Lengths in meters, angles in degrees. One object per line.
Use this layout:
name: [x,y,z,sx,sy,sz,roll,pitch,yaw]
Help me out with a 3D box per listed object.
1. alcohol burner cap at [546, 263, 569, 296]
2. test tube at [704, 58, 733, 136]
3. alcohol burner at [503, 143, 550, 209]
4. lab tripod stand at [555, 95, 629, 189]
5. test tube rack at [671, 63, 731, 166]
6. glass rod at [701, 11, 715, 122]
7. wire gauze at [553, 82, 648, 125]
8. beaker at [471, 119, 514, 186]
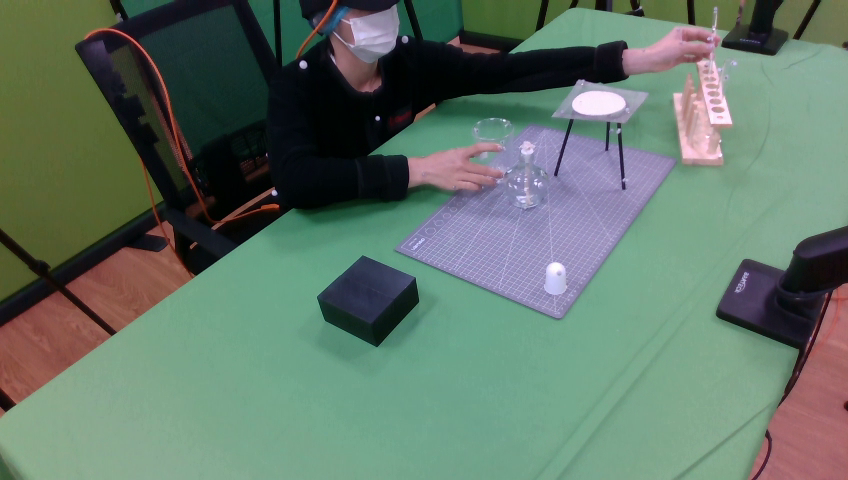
alcohol burner cap: [0.191,0.053,0.862,0.034,0.048,0.033,-5,40,5]
test tube: [0.516,-0.247,1.062,0.017,0.151,0.017,-3,43,4]
alcohol burner: [0.171,-0.111,1.007,0.078,0.119,0.077,-3,41,3]
lab tripod stand: [0.301,-0.174,1.045,0.148,0.132,0.147,-5,38,5]
test tube rack: [0.513,-0.241,1.132,0.066,0.085,0.242,4,41,14]
glass rod: [0.532,-0.323,1.134,0.008,0.200,0.008,-1,14,1]
wire gauze: [0.293,-0.225,1.002,0.120,0.011,0.125,17,45,27]
beaker: [0.125,-0.155,1.077,0.084,0.101,0.073,-35,47,-30]
